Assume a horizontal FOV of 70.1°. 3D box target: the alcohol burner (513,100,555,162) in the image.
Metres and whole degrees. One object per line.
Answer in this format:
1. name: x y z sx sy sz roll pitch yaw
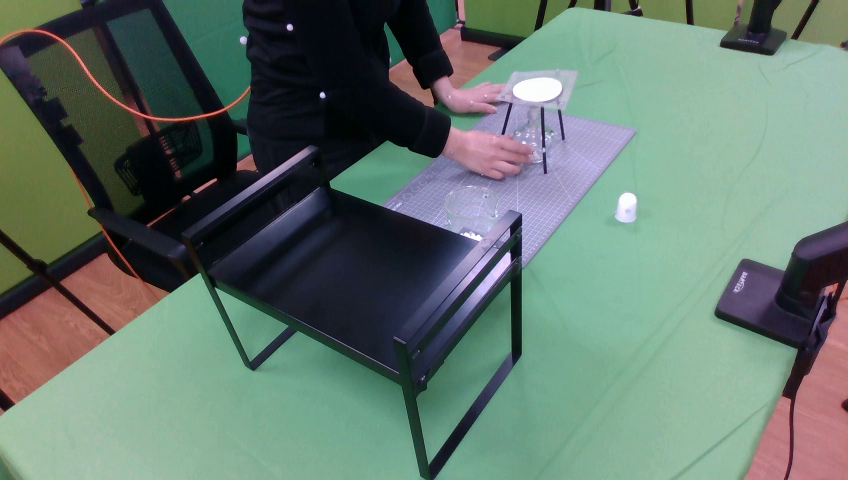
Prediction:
1. alcohol burner: 0.203 -0.203 1.108 0.078 0.119 0.077 -3 41 3

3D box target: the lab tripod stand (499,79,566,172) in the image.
1. lab tripod stand: 0.204 -0.215 1.107 0.148 0.132 0.147 -6 41 5

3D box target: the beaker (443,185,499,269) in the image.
1. beaker: 0.071 -0.015 0.844 0.074 0.101 0.083 -35 48 -29

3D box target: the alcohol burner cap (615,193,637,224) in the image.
1. alcohol burner cap: 0.327 -0.053 0.974 0.034 0.048 0.033 -4 38 3

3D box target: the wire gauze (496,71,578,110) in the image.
1. wire gauze: 0.199 -0.268 1.065 0.124 0.011 0.121 10 44 22
